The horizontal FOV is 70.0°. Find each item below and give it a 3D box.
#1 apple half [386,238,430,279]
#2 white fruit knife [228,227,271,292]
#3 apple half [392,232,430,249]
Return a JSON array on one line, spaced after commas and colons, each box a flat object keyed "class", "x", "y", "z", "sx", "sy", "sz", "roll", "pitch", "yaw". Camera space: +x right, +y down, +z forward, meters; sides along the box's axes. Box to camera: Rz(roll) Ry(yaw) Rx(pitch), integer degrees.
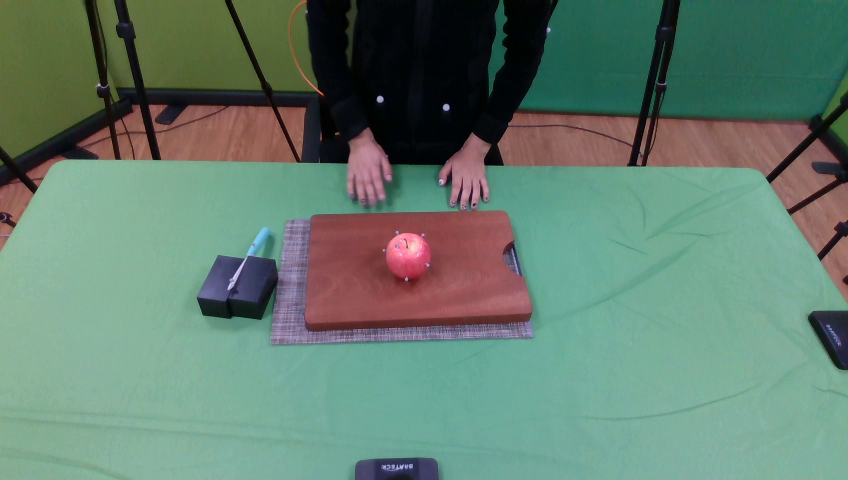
[{"class": "apple half", "x": -0.032, "y": 0.039, "z": 1.084, "sx": 0.081, "sy": 0.075, "sz": 0.053, "roll": 11, "pitch": 50, "yaw": 1}, {"class": "white fruit knife", "x": -0.318, "y": 0.031, "z": 1.107, "sx": 0.016, "sy": 0.027, "sz": 0.206, "roll": 5, "pitch": 32, "yaw": 3}, {"class": "apple half", "x": -0.025, "y": 0.010, "z": 1.110, "sx": 0.081, "sy": 0.081, "sz": 0.032, "roll": 8, "pitch": 51, "yaw": 4}]
